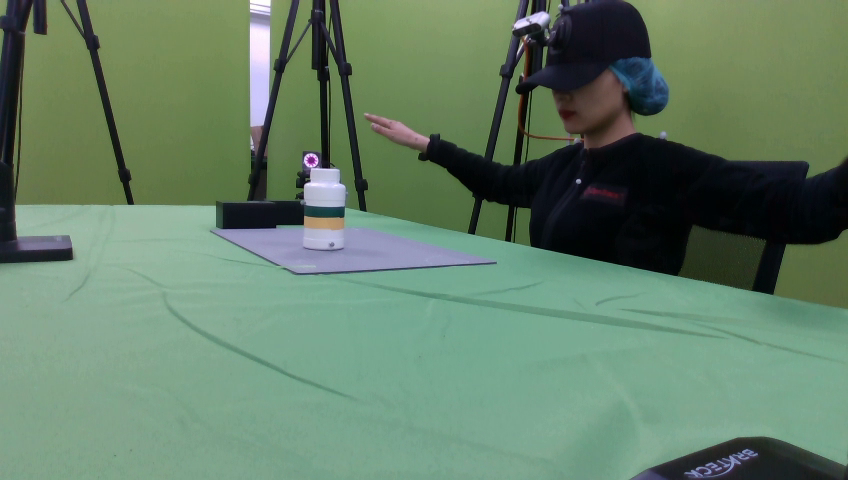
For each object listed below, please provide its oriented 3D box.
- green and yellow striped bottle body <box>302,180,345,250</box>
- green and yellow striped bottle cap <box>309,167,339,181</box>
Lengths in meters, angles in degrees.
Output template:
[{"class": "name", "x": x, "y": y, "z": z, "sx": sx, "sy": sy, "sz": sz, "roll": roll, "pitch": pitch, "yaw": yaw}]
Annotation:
[{"class": "green and yellow striped bottle body", "x": -0.152, "y": -0.047, "z": 0.918, "sx": 0.063, "sy": 0.119, "sz": 0.063, "roll": 3, "pitch": 8, "yaw": 0}, {"class": "green and yellow striped bottle cap", "x": -0.150, "y": -0.098, "z": 0.912, "sx": 0.045, "sy": 0.020, "sz": 0.045, "roll": 4, "pitch": 8, "yaw": 0}]
